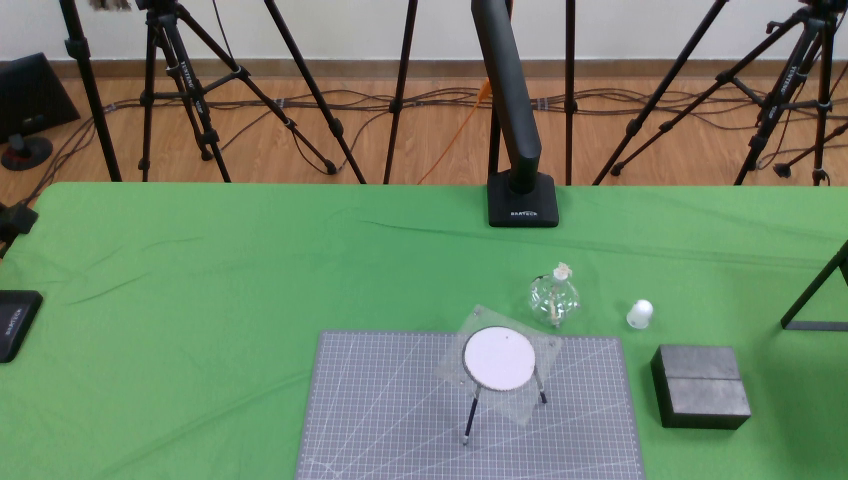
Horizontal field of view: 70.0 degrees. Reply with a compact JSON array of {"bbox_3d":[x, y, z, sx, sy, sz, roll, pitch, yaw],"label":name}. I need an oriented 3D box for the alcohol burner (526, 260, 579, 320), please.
[{"bbox_3d":[0.192,0.066,0.891,0.078,0.120,0.077,0,53,0],"label":"alcohol burner"}]

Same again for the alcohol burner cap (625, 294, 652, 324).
[{"bbox_3d":[0.323,0.101,0.908,0.034,0.048,0.033,-1,52,2],"label":"alcohol burner cap"}]

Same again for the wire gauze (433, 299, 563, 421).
[{"bbox_3d":[0.091,0.139,0.736,0.124,0.011,0.121,25,56,18],"label":"wire gauze"}]

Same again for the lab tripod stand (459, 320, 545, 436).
[{"bbox_3d":[0.094,0.174,0.793,0.148,0.132,0.147,0,51,0],"label":"lab tripod stand"}]
